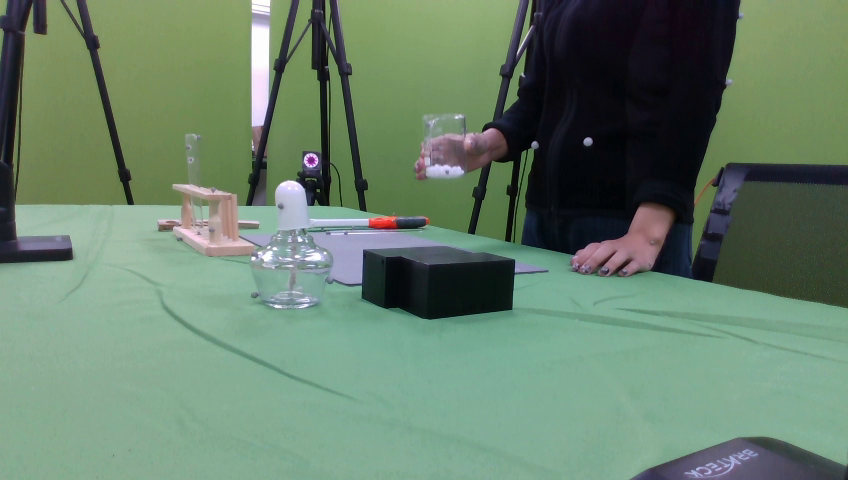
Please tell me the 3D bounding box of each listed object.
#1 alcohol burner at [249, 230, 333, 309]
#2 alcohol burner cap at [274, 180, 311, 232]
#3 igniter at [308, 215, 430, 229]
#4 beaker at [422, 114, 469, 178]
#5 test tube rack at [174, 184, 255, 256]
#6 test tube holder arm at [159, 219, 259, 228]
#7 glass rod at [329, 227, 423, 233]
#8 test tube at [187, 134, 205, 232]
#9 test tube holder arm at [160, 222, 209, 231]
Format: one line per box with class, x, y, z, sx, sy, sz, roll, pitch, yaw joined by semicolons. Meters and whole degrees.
alcohol burner;-0.125;0.004;0.568;0.078;0.119;0.078;2;10;0
alcohol burner cap;-0.125;-0.032;0.563;0.034;0.048;0.034;-5;6;1
igniter;-0.109;-0.037;1.228;0.278;0.025;0.057;-3;-1;-35
beaker;0.034;-0.154;0.990;0.074;0.100;0.083;-11;13;-40
test tube rack;-0.327;-0.036;0.928;0.067;0.085;0.241;-2;9;-32
test tube holder arm;-0.390;-0.030;1.107;0.179;0.015;0.013;-3;44;-39
glass rod;-0.087;-0.020;1.148;0.201;0.008;0.008;-3;8;-32
test tube;-0.350;-0.087;0.929;0.017;0.150;0.017;-3;5;1
test tube holder arm;-0.423;-0.024;1.075;0.088;0.015;0.010;-3;44;-38
